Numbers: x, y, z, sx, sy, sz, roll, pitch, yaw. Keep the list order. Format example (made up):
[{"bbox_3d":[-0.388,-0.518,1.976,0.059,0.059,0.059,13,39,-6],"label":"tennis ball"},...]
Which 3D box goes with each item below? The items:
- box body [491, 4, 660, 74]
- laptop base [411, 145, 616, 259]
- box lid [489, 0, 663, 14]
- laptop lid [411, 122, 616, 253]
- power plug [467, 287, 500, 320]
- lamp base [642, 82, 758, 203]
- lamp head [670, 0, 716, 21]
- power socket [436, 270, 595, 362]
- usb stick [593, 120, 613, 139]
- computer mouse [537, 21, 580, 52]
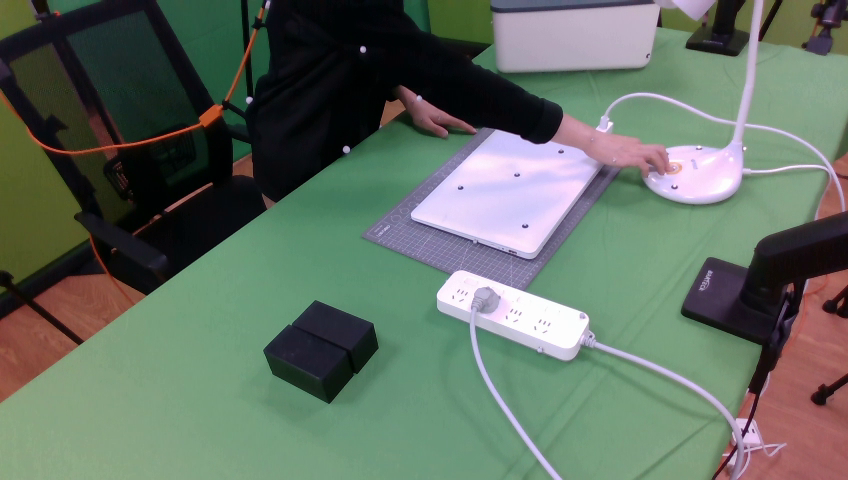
[{"bbox_3d":[0.346,-0.520,1.428,0.363,0.161,0.253,0,41,9],"label":"box body"},{"bbox_3d":[0.168,-0.101,1.074,0.234,0.023,0.355,17,46,30],"label":"laptop base"},{"bbox_3d":[0.340,-0.575,1.380,0.371,0.015,0.262,0,41,9],"label":"box lid"},{"bbox_3d":[0.165,-0.111,1.067,0.240,0.013,0.357,19,46,31],"label":"laptop lid"},{"bbox_3d":[0.073,0.092,0.814,0.035,0.053,0.073,29,54,34],"label":"power plug"},{"bbox_3d":[0.464,-0.174,0.992,0.179,0.181,0.159,-5,41,-1],"label":"lamp base"},{"bbox_3d":[0.374,-0.373,0.807,0.122,0.113,0.112,-40,27,32],"label":"lamp head"},{"bbox_3d":[0.119,0.101,0.832,0.225,0.033,0.072,19,48,27],"label":"power socket"},{"bbox_3d":[0.336,-0.201,1.146,0.021,0.027,0.059,25,52,27],"label":"usb stick"},{"bbox_3d":[0.335,-0.503,1.487,0.118,0.041,0.062,21,20,-28],"label":"computer mouse"}]
